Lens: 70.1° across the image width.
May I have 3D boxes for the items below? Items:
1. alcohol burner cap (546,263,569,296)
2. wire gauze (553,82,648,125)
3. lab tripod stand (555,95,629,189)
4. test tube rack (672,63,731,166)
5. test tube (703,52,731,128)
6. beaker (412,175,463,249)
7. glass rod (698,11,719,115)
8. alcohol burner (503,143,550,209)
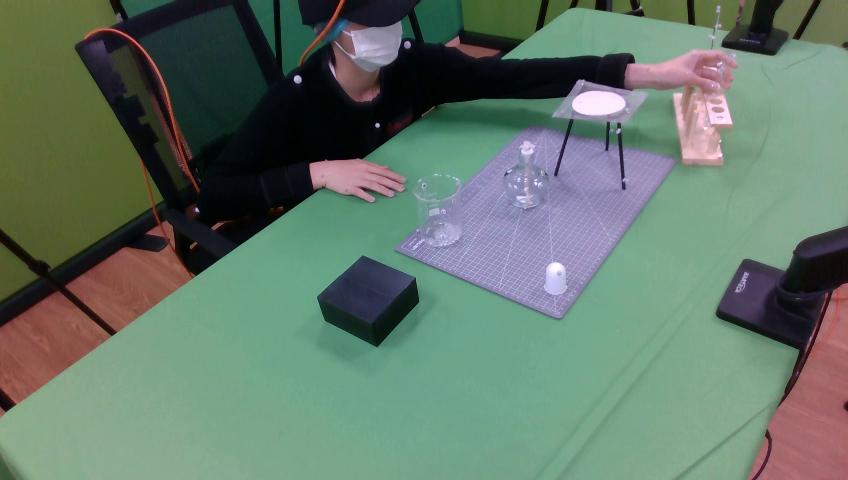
[{"bbox_3d":[0.191,0.053,0.862,0.034,0.048,0.033,-5,40,5],"label":"alcohol burner cap"},{"bbox_3d":[0.293,-0.225,1.002,0.120,0.011,0.125,17,45,27],"label":"wire gauze"},{"bbox_3d":[0.301,-0.174,1.045,0.148,0.132,0.147,-5,38,5],"label":"lab tripod stand"},{"bbox_3d":[0.513,-0.241,1.132,0.066,0.085,0.242,4,41,14],"label":"test tube rack"},{"bbox_3d":[0.523,-0.266,1.082,0.017,0.151,0.017,-4,44,4],"label":"test tube"},{"bbox_3d":[0.027,-0.043,0.959,0.084,0.101,0.073,-25,43,-20],"label":"beaker"},{"bbox_3d":[0.529,-0.324,1.125,0.008,0.200,0.008,-5,37,4],"label":"glass rod"},{"bbox_3d":[0.171,-0.111,1.007,0.078,0.119,0.077,-3,41,3],"label":"alcohol burner"}]
